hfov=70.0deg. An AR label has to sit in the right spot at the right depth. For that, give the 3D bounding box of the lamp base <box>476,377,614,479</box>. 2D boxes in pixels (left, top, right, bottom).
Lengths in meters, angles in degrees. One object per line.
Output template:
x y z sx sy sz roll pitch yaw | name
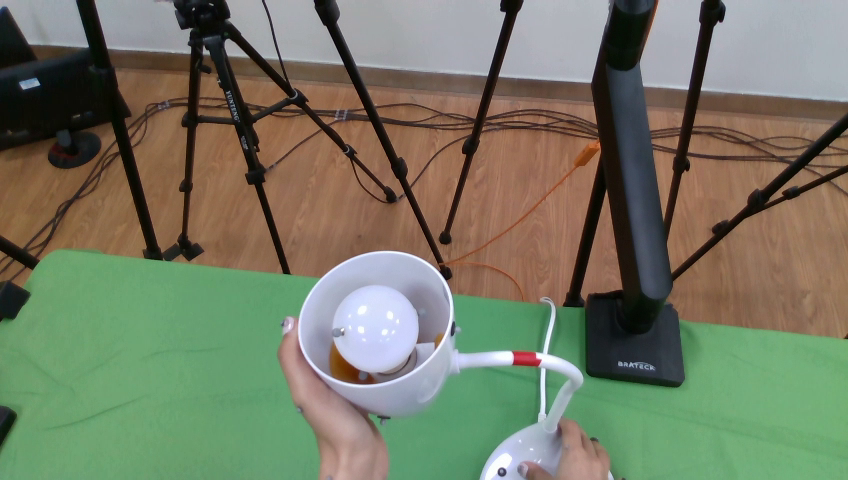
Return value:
0.134 0.232 0.630 0.161 0.182 0.177 -5 51 -2 | lamp base

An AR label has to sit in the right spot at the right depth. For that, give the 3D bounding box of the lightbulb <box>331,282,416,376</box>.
-0.032 0.072 0.444 0.059 0.109 0.059 -4 57 7 | lightbulb

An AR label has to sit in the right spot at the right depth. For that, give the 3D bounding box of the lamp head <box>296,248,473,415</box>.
-0.023 0.082 0.465 0.112 0.124 0.111 -9 52 12 | lamp head
